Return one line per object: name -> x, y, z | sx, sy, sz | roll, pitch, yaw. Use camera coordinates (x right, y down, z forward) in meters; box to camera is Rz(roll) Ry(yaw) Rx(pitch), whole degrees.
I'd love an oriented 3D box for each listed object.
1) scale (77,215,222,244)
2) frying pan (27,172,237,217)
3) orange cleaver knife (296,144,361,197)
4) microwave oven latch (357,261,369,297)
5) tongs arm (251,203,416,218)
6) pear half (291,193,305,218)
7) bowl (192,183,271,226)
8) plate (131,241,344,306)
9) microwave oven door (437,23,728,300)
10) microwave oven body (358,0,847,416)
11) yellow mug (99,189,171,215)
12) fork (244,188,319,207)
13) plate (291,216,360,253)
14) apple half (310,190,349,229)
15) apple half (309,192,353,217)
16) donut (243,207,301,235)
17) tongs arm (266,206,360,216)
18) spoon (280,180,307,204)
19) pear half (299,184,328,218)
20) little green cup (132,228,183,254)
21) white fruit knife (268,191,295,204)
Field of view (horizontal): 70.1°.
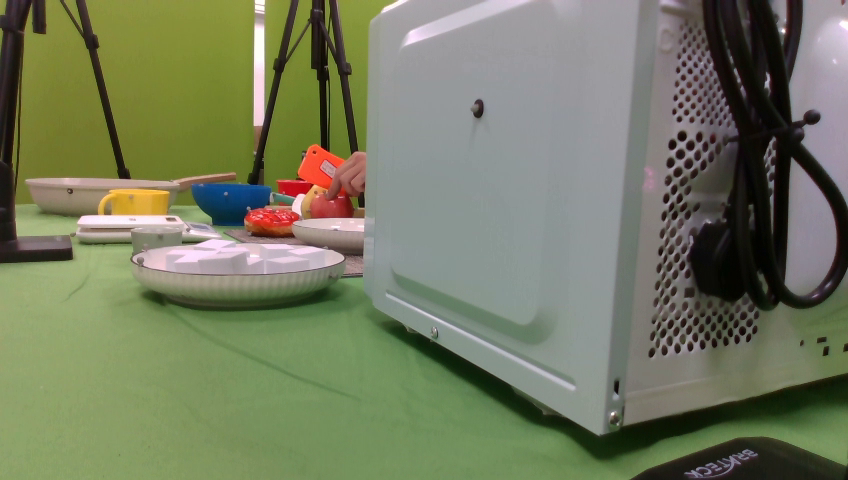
scale -> -0.434, -0.019, 0.963 | 0.202, 0.031, 0.148 | -1, 9, -27
frying pan -> -0.624, -0.118, 1.387 | 0.305, 0.102, 0.490 | 8, 17, 32
orange cleaver knife -> -0.140, -0.123, 1.142 | 0.212, 0.077, 0.012 | 12, -2, -37
microwave oven latch -> -0.019, 0.033, 0.530 | 0.079, 0.029, 0.030 | -1, 7, -26
tongs arm -> -0.210, -0.070, 1.439 | 0.389, 0.027, 0.028 | 1, 0, -17
pear half -> -0.240, -0.059, 1.243 | 0.071, 0.031, 0.087 | -8, 47, -37
bowl -> -0.382, -0.070, 1.202 | 0.151, 0.077, 0.151 | 3, 7, 0
plate -> -0.187, 0.033, 0.625 | 0.208, 0.039, 0.207 | 2, 8, 0
microwave oven door -> 0.180, -0.072, 0.621 | 0.358, 0.243, 0.039 | -2, 8, -29
microwave oven body -> 0.211, -0.047, 0.474 | 0.444, 0.260, 0.324 | -1, 7, -28
yellow mug -> -0.519, -0.055, 1.080 | 0.099, 0.064, 0.131 | 7, 9, 26
fork -> -0.356, -0.105, 1.526 | 0.208, 0.018, 0.028 | 16, -6, -41
plate -> -0.103, -0.009, 0.945 | 0.209, 0.038, 0.209 | 2, 8, 0
apple half -> -0.181, -0.057, 1.135 | 0.082, 0.081, 0.032 | -2, 1, -31
apple half -> -0.165, -0.050, 1.106 | 0.081, 0.074, 0.053 | 2, 10, -28
donut -> -0.261, -0.032, 1.043 | 0.099, 0.048, 0.099 | 4, 9, 0
tongs arm -> -0.173, -0.061, 1.362 | 0.387, 0.026, 0.050 | -1, 4, -31
spoon -> -0.316, -0.159, 1.640 | 0.194, 0.022, 0.041 | -50, 31, -20
pear half -> -0.199, -0.076, 1.180 | 0.077, 0.110, 0.055 | -8, 19, -36
little green cup -> -0.342, 0.006, 0.779 | 0.061, 0.038, 0.061 | 2, 8, 0
white fruit knife -> -0.364, -0.105, 1.464 | 0.208, 0.027, 0.016 | 15, -1, -34
